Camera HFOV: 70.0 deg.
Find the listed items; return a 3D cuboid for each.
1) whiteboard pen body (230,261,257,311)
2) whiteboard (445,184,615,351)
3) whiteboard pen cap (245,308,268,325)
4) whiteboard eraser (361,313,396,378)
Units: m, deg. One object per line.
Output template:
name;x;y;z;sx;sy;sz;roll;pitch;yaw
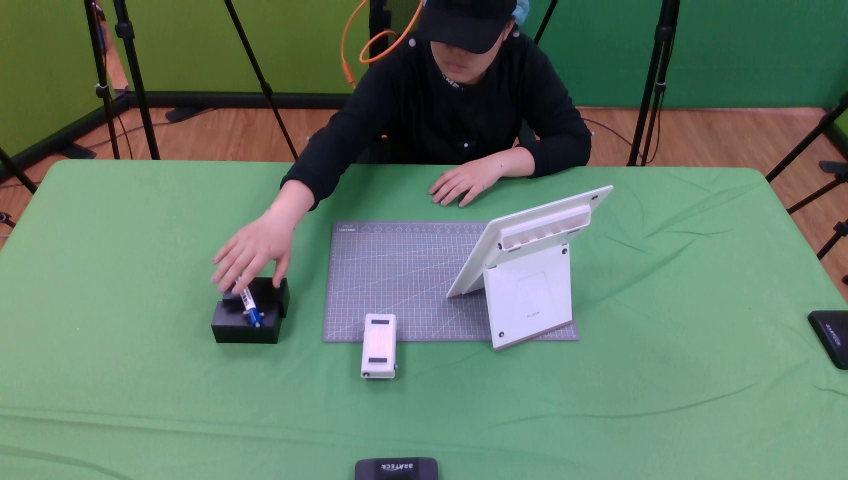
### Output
whiteboard pen body;-0.303;0.087;1.024;0.017;0.017;0.140;-19;50;-21
whiteboard;0.187;0.065;0.989;0.217;0.306;0.143;-15;68;-18
whiteboard pen cap;-0.273;0.126;0.986;0.033;0.018;0.018;31;50;1
whiteboard eraser;-0.075;0.176;1.006;0.055;0.042;0.112;3;50;-4
